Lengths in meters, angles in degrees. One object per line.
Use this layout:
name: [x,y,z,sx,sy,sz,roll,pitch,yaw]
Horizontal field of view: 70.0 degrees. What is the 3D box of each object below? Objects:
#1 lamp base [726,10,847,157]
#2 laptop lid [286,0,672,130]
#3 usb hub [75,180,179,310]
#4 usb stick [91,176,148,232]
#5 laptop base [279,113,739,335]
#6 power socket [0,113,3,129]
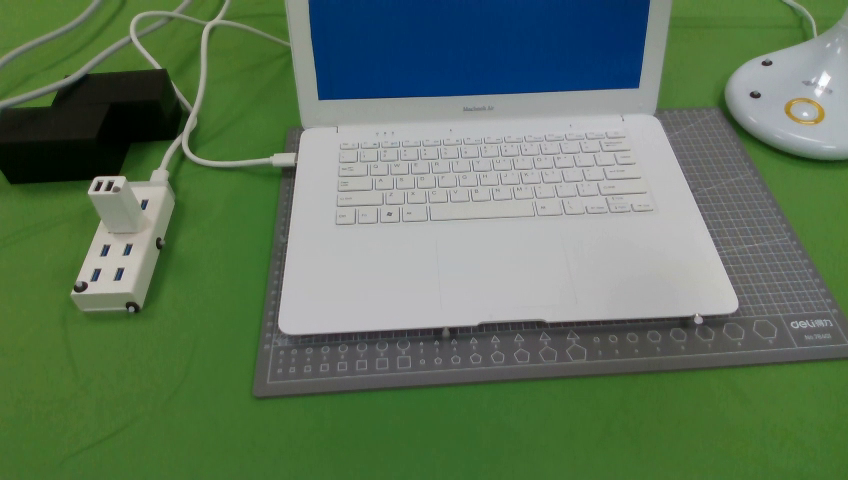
lamp base: [0.398,-0.200,0.571,0.160,0.182,0.178,21,51,18]
laptop lid: [0.052,-0.216,0.550,0.357,0.243,0.013,-4,29,-1]
usb hub: [-0.247,0.001,0.510,0.049,0.025,0.124,-2,49,0]
usb stick: [-0.244,-0.024,0.493,0.027,0.060,0.021,-4,49,0]
laptop base: [0.062,-0.023,0.532,0.354,0.023,0.233,-3,53,-2]
power socket: [-0.466,-0.059,0.558,0.072,0.033,0.224,-2,49,-2]
